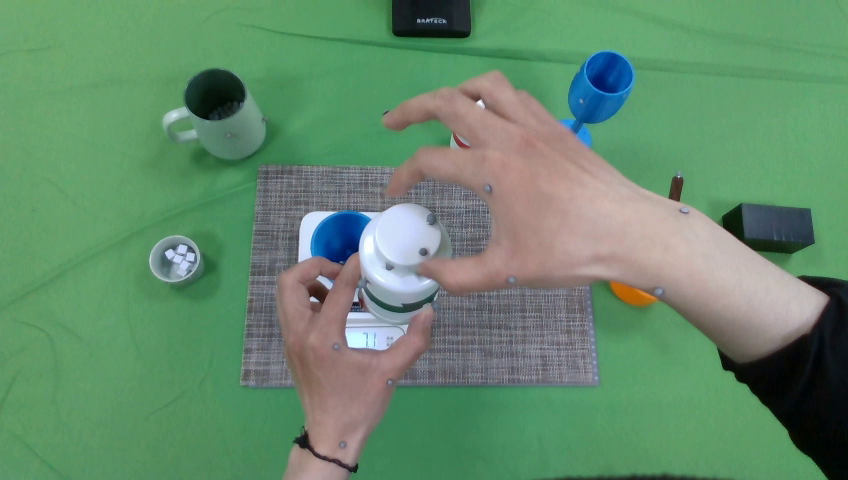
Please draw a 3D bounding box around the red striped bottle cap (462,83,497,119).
[{"bbox_3d":[0.071,-0.177,0.770,0.044,0.018,0.044,1,70,-3],"label":"red striped bottle cap"}]

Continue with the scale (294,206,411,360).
[{"bbox_3d":[-0.092,0.053,0.788,0.149,0.032,0.199,0,74,-4],"label":"scale"}]

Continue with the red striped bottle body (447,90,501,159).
[{"bbox_3d":[0.068,-0.162,0.821,0.063,0.120,0.062,1,73,-4],"label":"red striped bottle body"}]

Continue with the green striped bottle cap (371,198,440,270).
[{"bbox_3d":[-0.012,-0.004,0.387,0.044,0.020,0.044,2,72,-5],"label":"green striped bottle cap"}]

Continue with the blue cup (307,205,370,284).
[{"bbox_3d":[-0.093,0.013,0.731,0.093,0.100,0.092,2,75,-5],"label":"blue cup"}]

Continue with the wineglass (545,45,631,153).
[{"bbox_3d":[0.214,-0.182,0.810,0.074,0.173,0.073,1,73,-3],"label":"wineglass"}]

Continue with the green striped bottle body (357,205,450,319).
[{"bbox_3d":[-0.017,0.015,0.436,0.063,0.120,0.063,2,70,-5],"label":"green striped bottle body"}]

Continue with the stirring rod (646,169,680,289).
[{"bbox_3d":[0.306,-0.009,0.778,0.014,0.177,0.006,5,32,11],"label":"stirring rod"}]

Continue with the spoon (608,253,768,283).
[{"bbox_3d":[0.326,0.041,0.765,0.022,0.192,0.041,24,76,-42],"label":"spoon"}]

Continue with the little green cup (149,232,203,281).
[{"bbox_3d":[-0.316,0.023,0.781,0.061,0.039,0.061,2,73,-5],"label":"little green cup"}]

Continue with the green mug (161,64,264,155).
[{"bbox_3d":[-0.283,-0.165,0.805,0.125,0.105,0.092,-21,76,-9],"label":"green mug"}]
